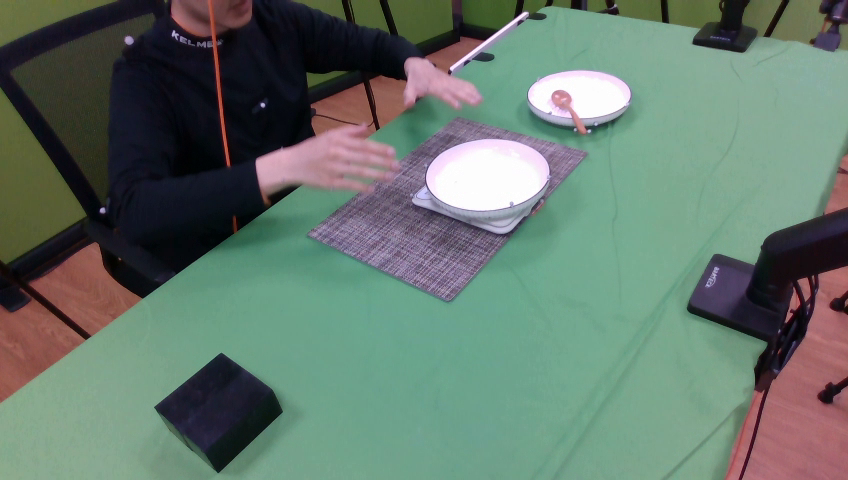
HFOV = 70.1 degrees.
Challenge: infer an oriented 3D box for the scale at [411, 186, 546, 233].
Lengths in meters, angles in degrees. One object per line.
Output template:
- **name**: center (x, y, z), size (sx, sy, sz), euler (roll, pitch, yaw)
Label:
- **scale**: center (0.092, -0.083, 1.039), size (0.199, 0.032, 0.149), euler (22, 48, 30)

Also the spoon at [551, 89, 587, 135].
- **spoon**: center (0.286, -0.253, 1.184), size (0.041, 0.022, 0.192), euler (-7, 33, 1)

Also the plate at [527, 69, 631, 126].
- **plate**: center (0.317, -0.289, 1.246), size (0.209, 0.038, 0.208), euler (-4, 41, 4)

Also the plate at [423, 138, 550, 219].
- **plate**: center (0.104, -0.099, 1.005), size (0.207, 0.039, 0.206), euler (-4, 41, 4)
